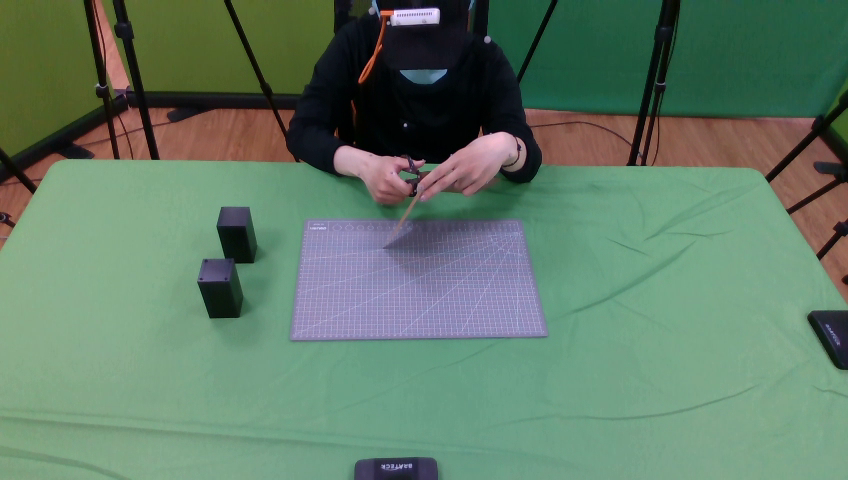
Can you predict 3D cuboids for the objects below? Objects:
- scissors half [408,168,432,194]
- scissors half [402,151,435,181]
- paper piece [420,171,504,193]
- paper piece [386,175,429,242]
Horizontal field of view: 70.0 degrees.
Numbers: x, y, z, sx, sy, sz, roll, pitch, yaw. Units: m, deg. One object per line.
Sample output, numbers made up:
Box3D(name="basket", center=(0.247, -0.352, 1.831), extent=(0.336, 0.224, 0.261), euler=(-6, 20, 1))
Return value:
Box3D(name="scissors half", center=(-0.005, -0.118, 1.174), extent=(0.013, 0.175, 0.040), euler=(-18, 88, -13))
Box3D(name="scissors half", center=(-0.011, -0.139, 1.169), extent=(0.013, 0.040, 0.174), euler=(-23, 29, -12))
Box3D(name="paper piece", center=(0.068, -0.111, 1.188), extent=(0.138, 0.136, 0.008), euler=(-4, 82, -18))
Box3D(name="paper piece", center=(-0.033, -0.058, 1.144), extent=(0.004, 0.135, 0.135), euler=(32, 72, -3))
